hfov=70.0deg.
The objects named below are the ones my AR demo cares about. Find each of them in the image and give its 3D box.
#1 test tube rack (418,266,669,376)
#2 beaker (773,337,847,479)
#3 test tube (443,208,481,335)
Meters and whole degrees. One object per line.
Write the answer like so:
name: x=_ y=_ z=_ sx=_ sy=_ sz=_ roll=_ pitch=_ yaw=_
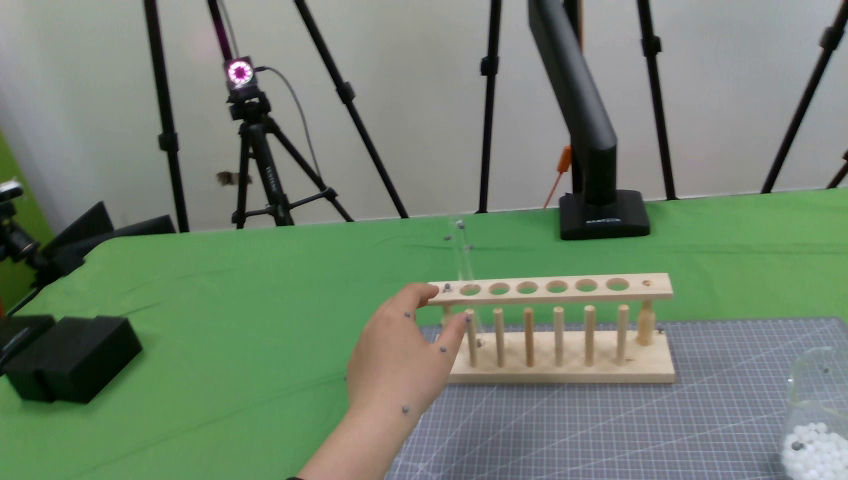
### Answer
test tube rack: x=0.118 y=0.084 z=0.617 sx=0.242 sy=0.086 sz=0.066 roll=-3 pitch=31 yaw=13
beaker: x=0.305 y=0.136 z=0.455 sx=0.084 sy=0.101 sz=0.073 roll=-13 pitch=30 yaw=-2
test tube: x=0.041 y=0.036 z=0.624 sx=0.017 sy=0.151 sz=0.017 roll=-10 pitch=28 yaw=6
